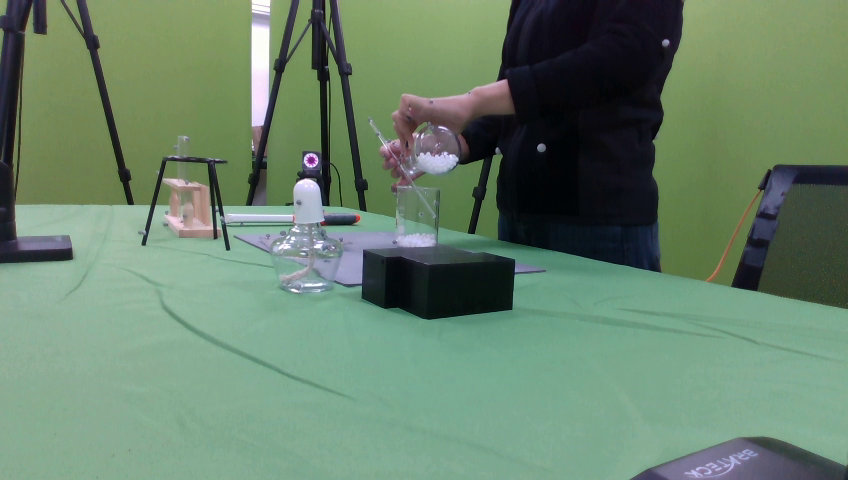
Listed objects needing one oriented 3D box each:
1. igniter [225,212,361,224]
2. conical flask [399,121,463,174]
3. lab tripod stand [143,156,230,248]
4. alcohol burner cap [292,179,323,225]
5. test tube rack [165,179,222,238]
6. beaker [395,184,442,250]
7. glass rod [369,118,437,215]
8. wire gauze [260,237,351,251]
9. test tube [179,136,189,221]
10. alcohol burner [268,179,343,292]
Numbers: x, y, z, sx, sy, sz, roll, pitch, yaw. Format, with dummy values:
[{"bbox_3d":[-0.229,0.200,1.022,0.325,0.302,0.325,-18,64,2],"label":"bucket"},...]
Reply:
[{"bbox_3d":[-0.262,-0.045,1.240,0.278,0.025,0.057,-2,-1,-31],"label":"igniter"},{"bbox_3d":[0.001,-0.128,0.911,0.075,0.075,0.121,-1,-4,-23],"label":"conical flask"},{"bbox_3d":[-0.338,-0.058,0.908,0.148,0.131,0.148,4,7,0],"label":"lab tripod stand"},{"bbox_3d":[-0.124,-0.040,0.632,0.034,0.048,0.034,-3,10,1],"label":"alcohol burner cap"},{"bbox_3d":[-0.423,-0.062,1.098,0.067,0.085,0.241,-2,9,-28],"label":"test tube rack"},{"bbox_3d":[-0.009,-0.038,0.968,0.074,0.100,0.084,6,8,21],"label":"beaker"},{"bbox_3d":[-0.035,-0.120,0.970,0.008,0.199,0.008,-32,-14,-9],"label":"glass rod"},{"bbox_3d":[-0.184,0.004,0.938,0.122,0.011,0.124,-1,5,-24],"label":"wire gauze"},{"bbox_3d":[-0.425,-0.108,1.070,0.017,0.150,0.017,4,9,0],"label":"test tube"},{"bbox_3d":[-0.124,-0.005,0.637,0.078,0.119,0.078,4,8,0],"label":"alcohol burner"}]
